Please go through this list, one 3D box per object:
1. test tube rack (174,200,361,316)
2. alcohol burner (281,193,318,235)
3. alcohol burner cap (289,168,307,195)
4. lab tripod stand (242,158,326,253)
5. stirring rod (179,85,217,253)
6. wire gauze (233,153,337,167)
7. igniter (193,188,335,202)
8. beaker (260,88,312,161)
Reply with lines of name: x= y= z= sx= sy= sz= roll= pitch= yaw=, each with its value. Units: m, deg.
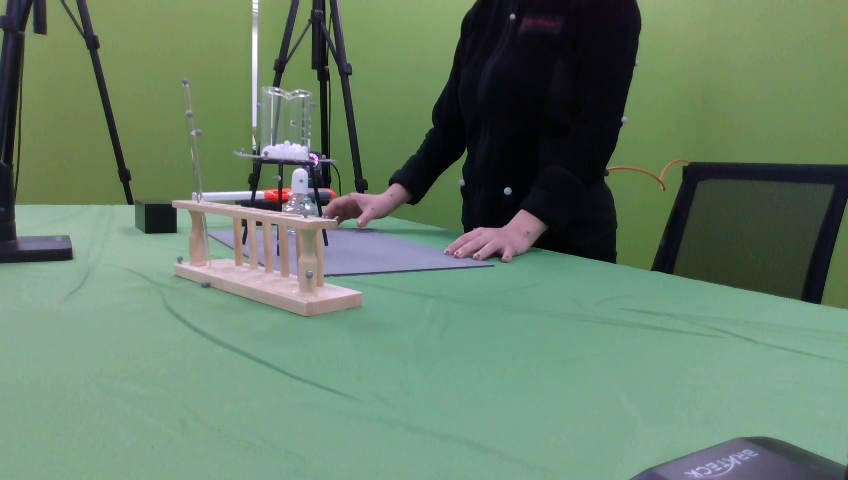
test tube rack: x=-0.169 y=0.009 z=0.622 sx=0.241 sy=0.085 sz=0.067 roll=9 pitch=9 yaw=41
alcohol burner: x=-0.225 y=-0.069 z=1.086 sx=0.078 sy=0.119 sz=0.078 roll=2 pitch=6 yaw=0
alcohol burner cap: x=-0.224 y=-0.105 z=1.081 sx=0.034 sy=0.048 sz=0.034 roll=3 pitch=2 yaw=0
lab tripod stand: x=-0.207 y=-0.054 z=0.895 sx=0.148 sy=0.131 sz=0.148 roll=3 pitch=5 yaw=0
stirring rod: x=-0.236 y=-0.073 z=0.634 sx=0.006 sy=0.176 sz=0.014 roll=0 pitch=10 yaw=42
wire gauze: x=-0.205 y=-0.119 z=0.887 sx=0.122 sy=0.011 sz=0.124 roll=2 pitch=4 yaw=-32
igniter: x=-0.312 y=-0.089 z=1.209 sx=0.278 sy=0.025 sz=0.057 roll=-5 pitch=13 yaw=-31
beaker: x=-0.201 y=-0.166 z=0.877 sx=0.074 sy=0.100 sz=0.083 roll=1 pitch=7 yaw=-18
